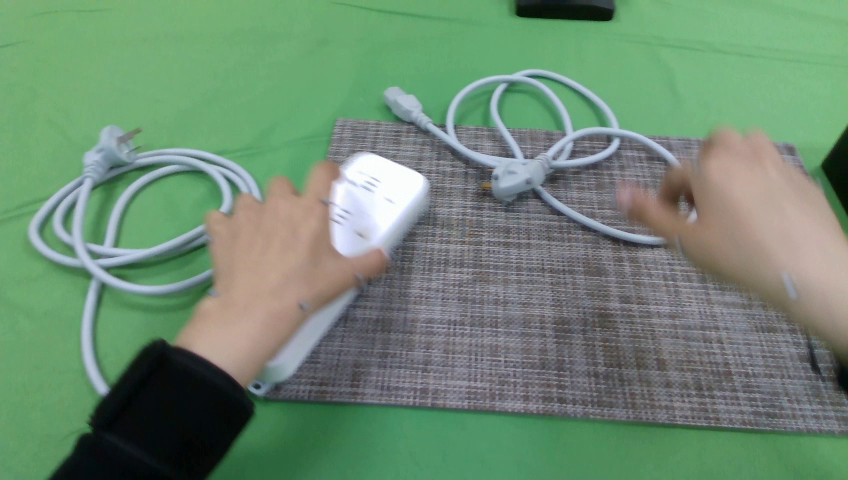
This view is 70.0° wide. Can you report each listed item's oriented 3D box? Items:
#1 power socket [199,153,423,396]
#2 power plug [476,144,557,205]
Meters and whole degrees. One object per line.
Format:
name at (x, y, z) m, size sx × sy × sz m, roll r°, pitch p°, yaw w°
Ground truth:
power socket at (-0.078, 0.012, 0.466) m, size 0.072 × 0.033 × 0.226 m, roll 24°, pitch 55°, yaw 17°
power plug at (0.082, -0.058, 0.536) m, size 0.052 × 0.035 × 0.072 m, roll 9°, pitch 32°, yaw 40°
